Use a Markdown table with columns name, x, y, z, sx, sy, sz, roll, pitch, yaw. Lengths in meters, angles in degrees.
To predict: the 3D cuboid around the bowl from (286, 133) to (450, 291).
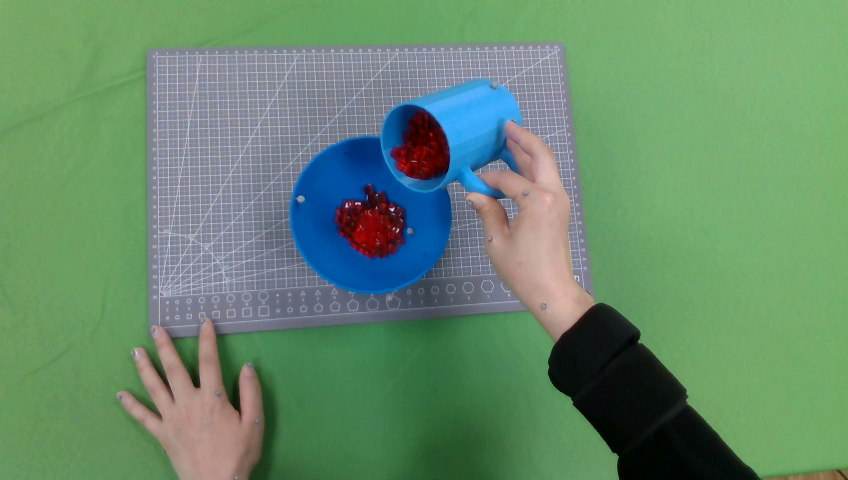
| name | x | y | z | sx | sy | sz | roll | pitch | yaw |
| --- | --- | --- | --- | --- | --- | --- | --- | --- | --- |
| bowl | -0.054 | -0.020 | 0.591 | 0.152 | 0.077 | 0.151 | 1 | 81 | -7 |

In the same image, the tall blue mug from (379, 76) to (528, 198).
| name | x | y | z | sx | sy | sz | roll | pitch | yaw |
| --- | --- | --- | --- | --- | --- | --- | --- | --- | --- |
| tall blue mug | 0.037 | -0.089 | 0.518 | 0.106 | 0.078 | 0.108 | 23 | 35 | 31 |
